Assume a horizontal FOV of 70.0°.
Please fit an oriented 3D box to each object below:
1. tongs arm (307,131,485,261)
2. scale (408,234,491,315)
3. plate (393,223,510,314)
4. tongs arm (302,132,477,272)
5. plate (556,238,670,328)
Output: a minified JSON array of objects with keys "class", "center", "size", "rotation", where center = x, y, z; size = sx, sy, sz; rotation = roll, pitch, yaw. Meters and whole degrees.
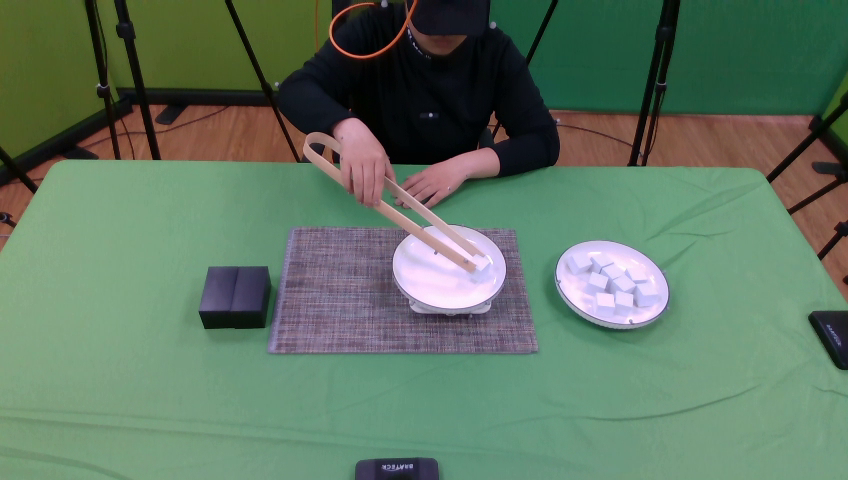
[{"class":"tongs arm","center":[-0.051,-0.082,1.096],"size":[0.387,0.028,0.028],"rotation":[36,52,5]},{"class":"scale","center":[0.045,0.055,1.135],"size":[0.149,0.032,0.199],"rotation":[1,46,-3]},{"class":"plate","center":[0.048,0.053,1.092],"size":[0.208,0.039,0.206],"rotation":[1,46,-1]},{"class":"tongs arm","center":[-0.063,-0.068,1.080],"size":[0.384,0.026,0.050],"rotation":[33,48,2]},{"class":"plate","center":[0.347,0.083,1.130],"size":[0.209,0.038,0.208],"rotation":[2,47,-2]}]
